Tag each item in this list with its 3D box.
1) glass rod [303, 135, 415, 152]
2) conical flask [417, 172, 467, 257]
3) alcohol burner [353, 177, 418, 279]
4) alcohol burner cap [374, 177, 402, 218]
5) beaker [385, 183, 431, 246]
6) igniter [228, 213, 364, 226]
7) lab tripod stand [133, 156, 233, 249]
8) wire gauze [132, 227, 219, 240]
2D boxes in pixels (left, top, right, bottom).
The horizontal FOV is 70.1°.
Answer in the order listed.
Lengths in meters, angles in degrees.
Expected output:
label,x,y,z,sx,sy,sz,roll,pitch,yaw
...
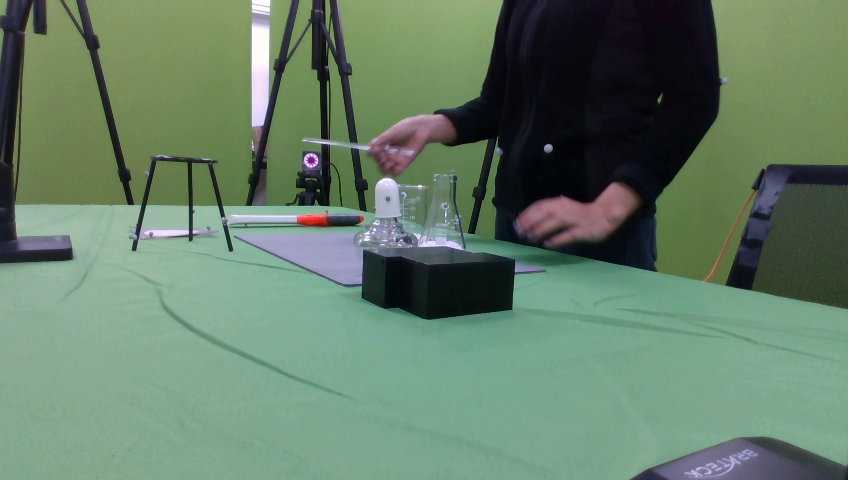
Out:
label,x,y,z,sx,sy,sz,roll,pitch,yaw
glass rod,-0.115,-0.173,1.082,0.200,0.008,0.008,6,7,-6
conical flask,0.029,-0.039,0.897,0.075,0.122,0.075,3,8,0
alcohol burner,-0.044,-0.014,0.710,0.078,0.119,0.078,4,9,0
alcohol burner cap,-0.044,-0.049,0.704,0.034,0.048,0.034,-5,10,1
beaker,-0.031,-0.043,1.000,0.084,0.100,0.074,4,7,15
igniter,-0.252,-0.042,1.226,0.278,0.025,0.057,-2,-2,-32
lab tripod stand,-0.342,-0.054,0.878,0.148,0.131,0.148,4,6,0
wire gauze,-0.421,-0.014,1.024,0.122,0.011,0.124,-2,7,-34
